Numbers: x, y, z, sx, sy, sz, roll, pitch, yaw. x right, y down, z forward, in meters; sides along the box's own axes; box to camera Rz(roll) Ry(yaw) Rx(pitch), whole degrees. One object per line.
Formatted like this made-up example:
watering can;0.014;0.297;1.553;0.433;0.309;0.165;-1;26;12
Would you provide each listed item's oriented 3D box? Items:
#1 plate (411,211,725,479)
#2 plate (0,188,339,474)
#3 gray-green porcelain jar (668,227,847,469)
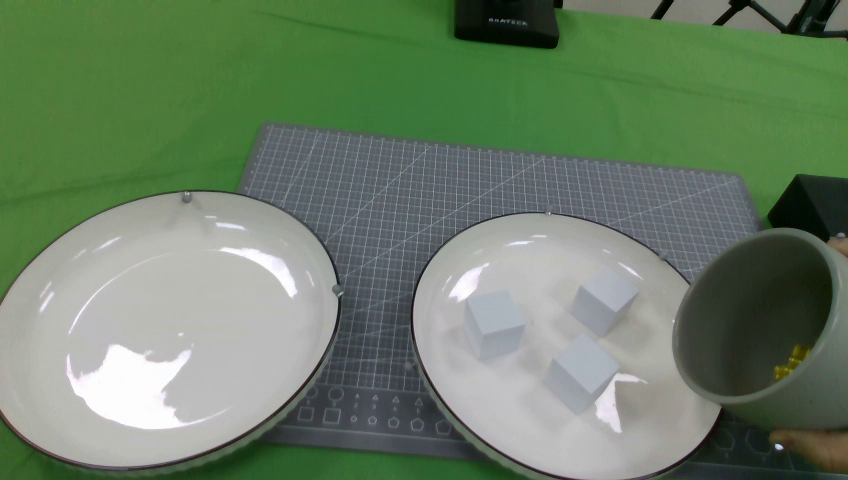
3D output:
plate;0.093;0.067;0.408;0.208;0.039;0.205;4;48;-4
plate;-0.159;0.051;0.389;0.209;0.038;0.207;3;49;-3
gray-green porcelain jar;0.226;0.066;0.347;0.127;0.106;0.105;28;46;-15
